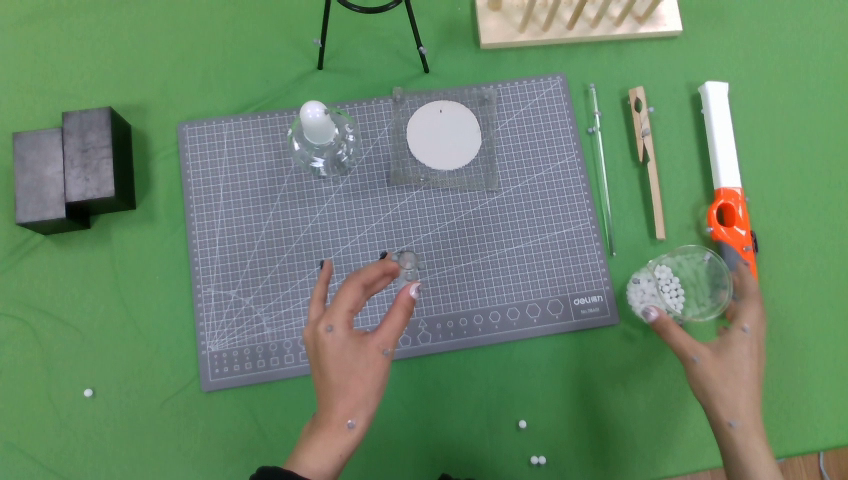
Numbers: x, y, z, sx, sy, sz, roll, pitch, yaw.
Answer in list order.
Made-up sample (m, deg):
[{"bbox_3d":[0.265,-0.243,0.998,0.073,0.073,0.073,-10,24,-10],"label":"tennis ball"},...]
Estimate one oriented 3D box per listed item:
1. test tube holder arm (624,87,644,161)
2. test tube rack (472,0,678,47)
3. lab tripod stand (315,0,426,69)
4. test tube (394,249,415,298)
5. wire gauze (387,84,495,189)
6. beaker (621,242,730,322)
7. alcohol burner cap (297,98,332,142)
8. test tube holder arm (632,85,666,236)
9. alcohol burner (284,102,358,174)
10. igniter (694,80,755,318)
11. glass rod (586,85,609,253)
[{"bbox_3d":[0.246,-0.135,0.704,0.010,0.015,0.087,-13,78,31],"label":"test tube holder arm"},{"bbox_3d":[0.183,-0.281,0.694,0.242,0.085,0.066,-5,79,-3],"label":"test tube rack"},{"bbox_3d":[-0.060,-0.249,0.653,0.148,0.132,0.148,0,80,-2],"label":"lab tripod stand"},{"bbox_3d":[-0.017,0.031,0.515,0.017,0.151,0.017,1,76,-3],"label":"test tube"},{"bbox_3d":[0.020,-0.121,0.692,0.125,0.011,0.121,3,80,-3],"label":"wire gauze"},{"bbox_3d":[0.251,0.046,0.626,0.084,0.100,0.074,23,78,3],"label":"beaker"},{"bbox_3d":[-0.109,-0.121,0.596,0.034,0.048,0.033,1,72,-2],"label":"alcohol burner cap"},{"bbox_3d":[0.256,-0.092,0.693,0.013,0.015,0.177,-14,77,30],"label":"test tube holder arm"},{"bbox_3d":[-0.110,-0.112,0.630,0.078,0.119,0.077,0,79,0],"label":"alcohol burner"},{"bbox_3d":[0.339,-0.050,0.685,0.057,0.025,0.275,1,78,-13],"label":"igniter"},{"bbox_3d":[0.199,-0.083,0.695,0.008,0.008,0.199,-3,81,-3],"label":"glass rod"}]
